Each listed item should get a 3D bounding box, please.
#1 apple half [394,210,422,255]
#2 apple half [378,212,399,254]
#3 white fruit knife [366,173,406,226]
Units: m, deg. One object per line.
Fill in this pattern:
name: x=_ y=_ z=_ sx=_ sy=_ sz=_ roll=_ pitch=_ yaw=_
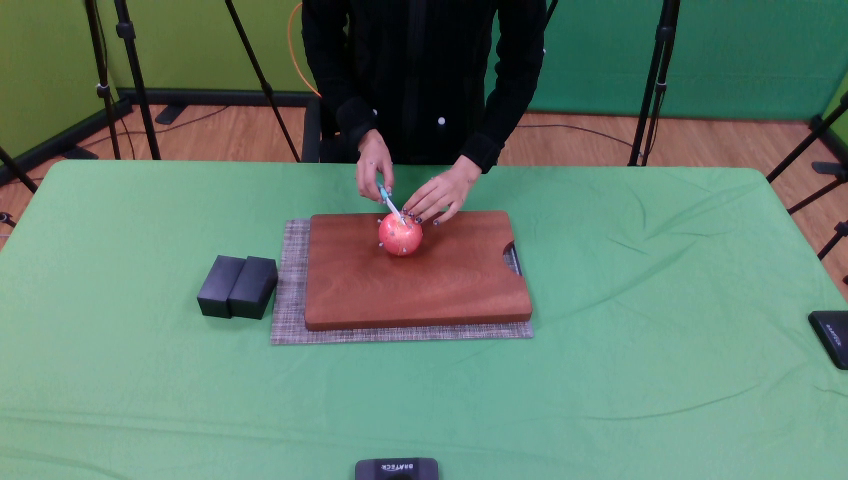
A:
apple half: x=-0.031 y=-0.013 z=1.133 sx=0.053 sy=0.075 sz=0.080 roll=-6 pitch=43 yaw=-16
apple half: x=-0.069 y=-0.008 z=1.124 sx=0.033 sy=0.081 sz=0.080 roll=-7 pitch=47 yaw=-15
white fruit knife: x=-0.071 y=-0.078 z=1.133 sx=0.016 sy=0.027 sz=0.206 roll=-21 pitch=38 yaw=-14
